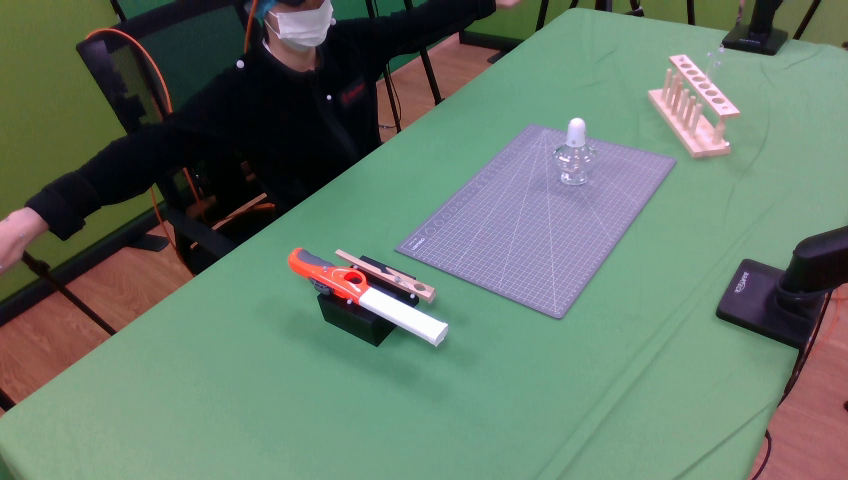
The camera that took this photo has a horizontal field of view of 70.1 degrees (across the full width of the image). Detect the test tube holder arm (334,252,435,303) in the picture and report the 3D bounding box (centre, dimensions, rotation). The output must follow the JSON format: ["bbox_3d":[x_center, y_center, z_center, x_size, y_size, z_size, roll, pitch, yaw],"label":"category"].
[{"bbox_3d":[-0.060,0.051,0.853,0.177,0.015,0.013,19,54,29],"label":"test tube holder arm"}]

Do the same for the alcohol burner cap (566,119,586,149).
[{"bbox_3d":[0.257,-0.180,1.018,0.034,0.048,0.033,-5,36,4],"label":"alcohol burner cap"}]

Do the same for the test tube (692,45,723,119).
[{"bbox_3d":[0.517,-0.285,1.106,0.017,0.151,0.017,-2,46,3],"label":"test tube"}]

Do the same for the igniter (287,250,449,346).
[{"bbox_3d":[-0.087,0.073,0.825,0.274,0.025,0.057,23,48,27],"label":"igniter"}]

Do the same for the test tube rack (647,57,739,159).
[{"bbox_3d":[0.504,-0.257,1.153,0.067,0.085,0.241,-7,40,1],"label":"test tube rack"}]

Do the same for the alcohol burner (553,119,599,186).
[{"bbox_3d":[0.261,-0.153,1.042,0.078,0.119,0.077,-6,40,6],"label":"alcohol burner"}]

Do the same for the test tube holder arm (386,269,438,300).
[{"bbox_3d":[-0.020,0.060,0.834,0.087,0.015,0.010,20,54,30],"label":"test tube holder arm"}]
